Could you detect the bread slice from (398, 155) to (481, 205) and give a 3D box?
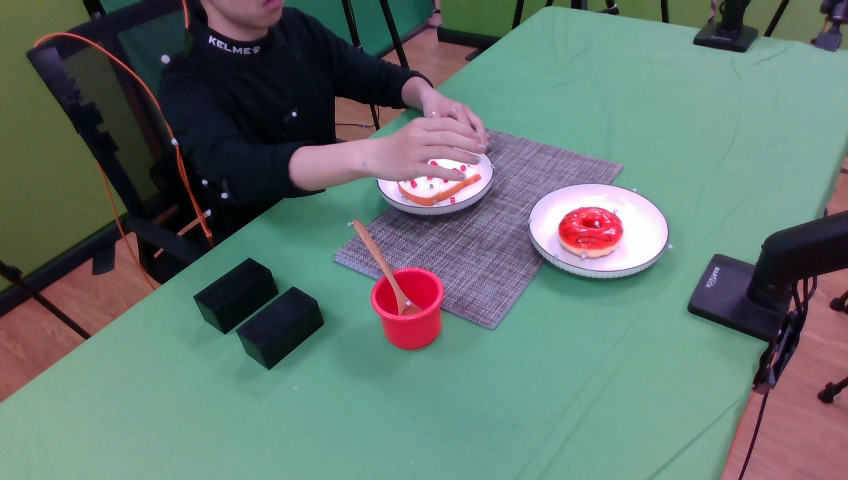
[{"bbox_3d":[0.021,-0.106,1.077,0.132,0.019,0.104,-31,45,-29],"label":"bread slice"}]

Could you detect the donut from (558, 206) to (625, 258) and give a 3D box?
[{"bbox_3d":[0.254,-0.014,0.917,0.099,0.048,0.098,-5,41,5],"label":"donut"}]

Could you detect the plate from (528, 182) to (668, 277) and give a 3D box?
[{"bbox_3d":[0.264,-0.014,0.933,0.207,0.039,0.206,-3,42,3],"label":"plate"}]

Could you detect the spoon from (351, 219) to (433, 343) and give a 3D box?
[{"bbox_3d":[-0.045,0.054,0.820,0.042,0.021,0.193,-29,89,-21],"label":"spoon"}]

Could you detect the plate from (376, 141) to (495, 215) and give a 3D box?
[{"bbox_3d":[0.021,-0.106,1.072,0.209,0.038,0.208,-4,40,4],"label":"plate"}]
